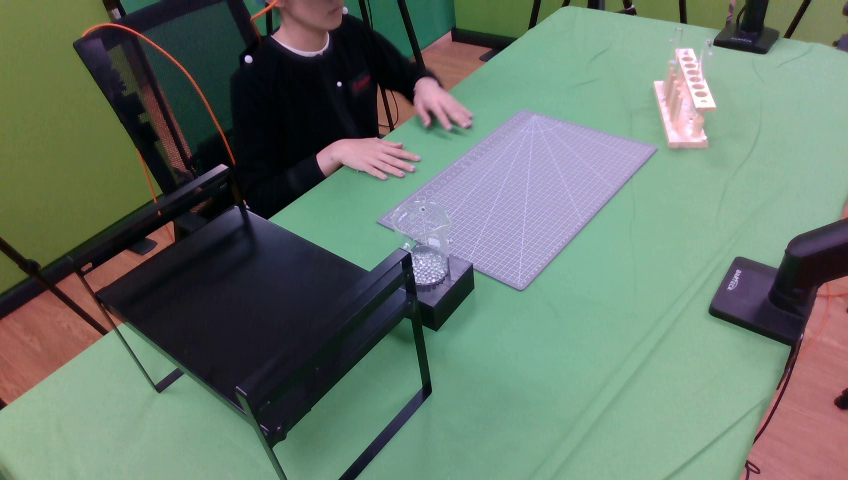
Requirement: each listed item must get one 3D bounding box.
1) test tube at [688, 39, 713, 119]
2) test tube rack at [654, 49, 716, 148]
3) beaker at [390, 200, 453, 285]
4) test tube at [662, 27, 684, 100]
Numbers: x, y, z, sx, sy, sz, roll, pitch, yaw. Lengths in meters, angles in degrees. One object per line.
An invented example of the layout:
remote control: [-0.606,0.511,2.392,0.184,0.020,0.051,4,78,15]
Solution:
test tube: [0.507,-0.292,1.111,0.017,0.151,0.017,-3,37,3]
test tube rack: [0.502,-0.281,1.176,0.066,0.085,0.241,2,41,11]
beaker: [0.002,0.006,0.831,0.084,0.101,0.074,5,42,13]
test tube: [0.486,-0.342,1.181,0.017,0.151,0.017,-3,42,4]
